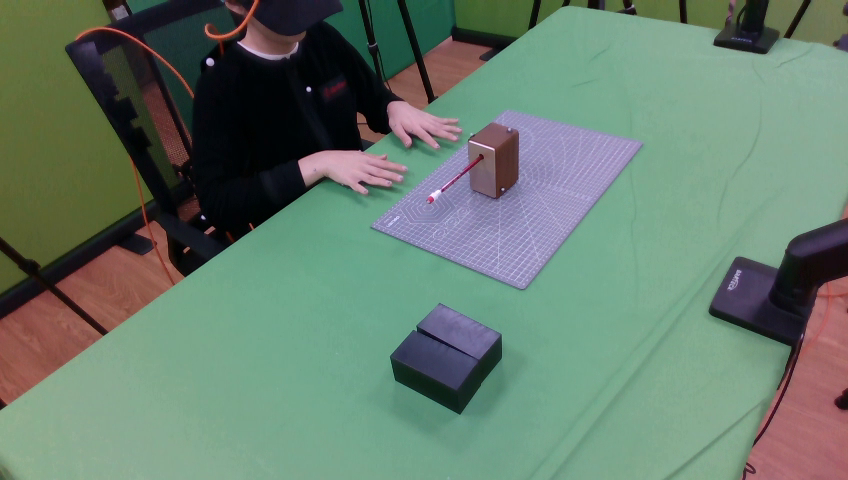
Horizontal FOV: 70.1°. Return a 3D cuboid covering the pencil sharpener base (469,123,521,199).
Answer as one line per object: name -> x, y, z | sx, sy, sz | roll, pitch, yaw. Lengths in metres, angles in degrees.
pencil sharpener base -> 0.126, -0.138, 1.050 | 0.061, 0.107, 0.077 | 24, 50, 33

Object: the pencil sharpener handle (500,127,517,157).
pencil sharpener handle -> 0.153, -0.178, 1.072 | 0.036, 0.068, 0.031 | 38, 55, 17

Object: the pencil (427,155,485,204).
pencil -> 0.070, -0.112, 0.989 | 0.012, 0.012, 0.194 | 26, 51, 33
